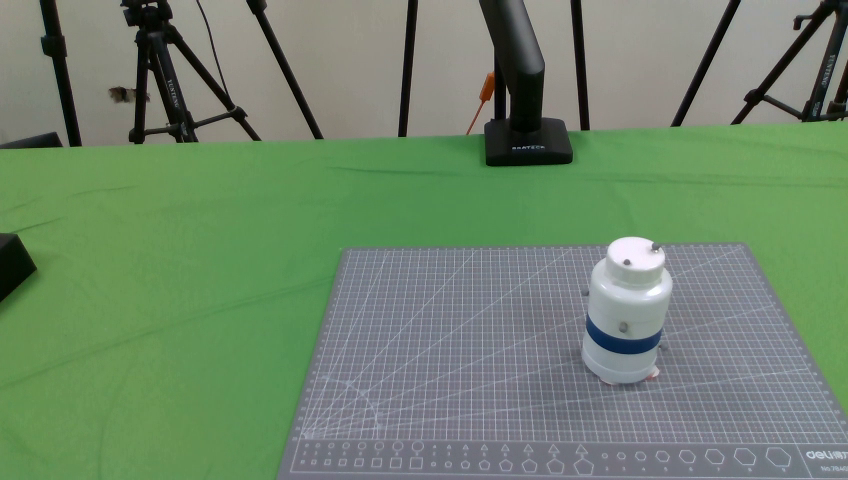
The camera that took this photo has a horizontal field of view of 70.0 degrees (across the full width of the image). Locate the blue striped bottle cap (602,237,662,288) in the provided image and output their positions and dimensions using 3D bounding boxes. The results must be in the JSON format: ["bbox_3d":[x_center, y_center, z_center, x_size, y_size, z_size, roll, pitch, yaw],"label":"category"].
[{"bbox_3d":[0.164,0.017,0.479,0.044,0.021,0.044,-2,37,2],"label":"blue striped bottle cap"}]

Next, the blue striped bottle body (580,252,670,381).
[{"bbox_3d":[0.168,0.057,0.510,0.063,0.122,0.062,-3,37,2],"label":"blue striped bottle body"}]
